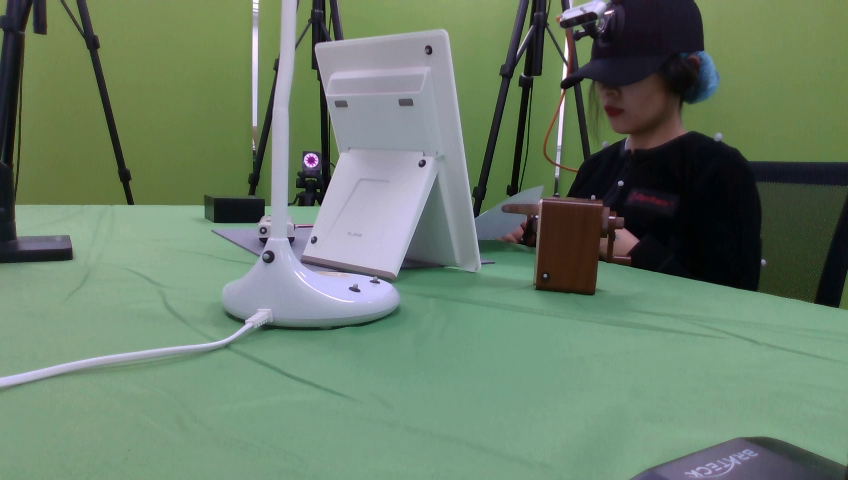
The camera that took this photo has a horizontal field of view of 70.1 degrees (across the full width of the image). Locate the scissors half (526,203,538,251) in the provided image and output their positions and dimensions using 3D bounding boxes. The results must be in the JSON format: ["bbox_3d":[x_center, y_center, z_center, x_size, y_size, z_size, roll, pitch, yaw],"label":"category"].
[{"bbox_3d":[0.188,-0.024,1.078,0.013,0.040,0.176,14,-23,20],"label":"scissors half"}]

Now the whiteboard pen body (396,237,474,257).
[{"bbox_3d":[0.014,0.012,0.886,0.140,0.017,0.017,9,10,38],"label":"whiteboard pen body"}]

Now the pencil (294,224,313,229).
[{"bbox_3d":[-0.220,-0.028,1.211,0.195,0.012,0.012,-5,10,-34],"label":"pencil"}]

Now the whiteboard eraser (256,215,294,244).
[{"bbox_3d":[-0.232,-0.016,0.951,0.056,0.042,0.112,2,7,-12],"label":"whiteboard eraser"}]

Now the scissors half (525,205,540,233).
[{"bbox_3d":[0.194,-0.043,1.083,0.013,0.040,0.176,9,-4,18],"label":"scissors half"}]

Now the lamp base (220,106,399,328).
[{"bbox_3d":[-0.101,-0.023,0.531,0.160,0.180,0.179,4,10,10],"label":"lamp base"}]

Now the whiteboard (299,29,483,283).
[{"bbox_3d":[-0.074,-0.082,0.742,0.216,0.305,0.144,9,30,38],"label":"whiteboard"}]

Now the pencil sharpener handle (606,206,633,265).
[{"bbox_3d":[0.222,-0.004,0.683,0.030,0.068,0.036,5,21,16],"label":"pencil sharpener handle"}]

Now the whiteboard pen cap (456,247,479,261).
[{"bbox_3d":[0.060,0.020,0.851,0.033,0.018,0.018,10,10,37],"label":"whiteboard pen cap"}]

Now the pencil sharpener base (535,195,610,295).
[{"bbox_3d":[0.172,0.005,0.695,0.076,0.107,0.061,5,7,16],"label":"pencil sharpener base"}]
